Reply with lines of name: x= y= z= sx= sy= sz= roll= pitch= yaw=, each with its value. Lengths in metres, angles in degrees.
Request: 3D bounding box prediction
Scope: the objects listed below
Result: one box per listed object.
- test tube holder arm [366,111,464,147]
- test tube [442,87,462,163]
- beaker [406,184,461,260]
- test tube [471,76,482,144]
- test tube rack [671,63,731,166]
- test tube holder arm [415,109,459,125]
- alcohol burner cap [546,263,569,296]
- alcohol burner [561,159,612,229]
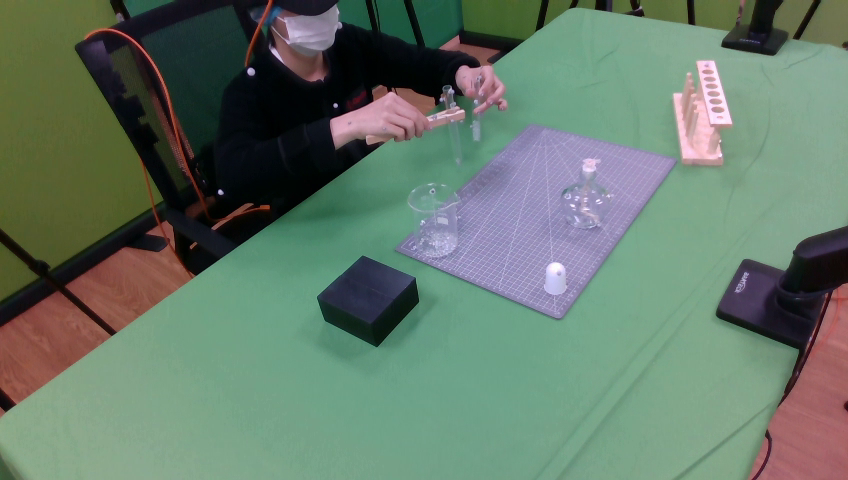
test tube holder arm: x=-0.012 y=-0.182 z=0.987 sx=0.179 sy=0.015 sz=0.013 roll=-22 pitch=35 yaw=-23
test tube: x=0.048 y=-0.193 z=1.032 sx=0.017 sy=0.151 sz=0.017 roll=-6 pitch=44 yaw=7
beaker: x=0.019 y=-0.026 z=0.939 sx=0.084 sy=0.101 sz=0.074 roll=1 pitch=41 yaw=9
test tube: x=0.095 y=-0.231 z=1.092 sx=0.017 sy=0.151 sz=0.017 roll=-3 pitch=52 yaw=5
test tube rack: x=0.513 y=-0.241 z=1.132 sx=0.066 sy=0.085 sz=0.242 roll=4 pitch=41 yaw=14
test tube holder arm: x=0.023 y=-0.200 z=1.010 sx=0.088 sy=0.015 sz=0.010 roll=-26 pitch=37 yaw=-28
alcohol burner cap: x=0.191 y=0.053 z=0.862 sx=0.034 sy=0.048 sz=0.033 roll=-5 pitch=40 yaw=4
alcohol burner: x=0.257 y=-0.077 z=0.951 sx=0.078 sy=0.119 sz=0.077 roll=-3 pitch=40 yaw=3
